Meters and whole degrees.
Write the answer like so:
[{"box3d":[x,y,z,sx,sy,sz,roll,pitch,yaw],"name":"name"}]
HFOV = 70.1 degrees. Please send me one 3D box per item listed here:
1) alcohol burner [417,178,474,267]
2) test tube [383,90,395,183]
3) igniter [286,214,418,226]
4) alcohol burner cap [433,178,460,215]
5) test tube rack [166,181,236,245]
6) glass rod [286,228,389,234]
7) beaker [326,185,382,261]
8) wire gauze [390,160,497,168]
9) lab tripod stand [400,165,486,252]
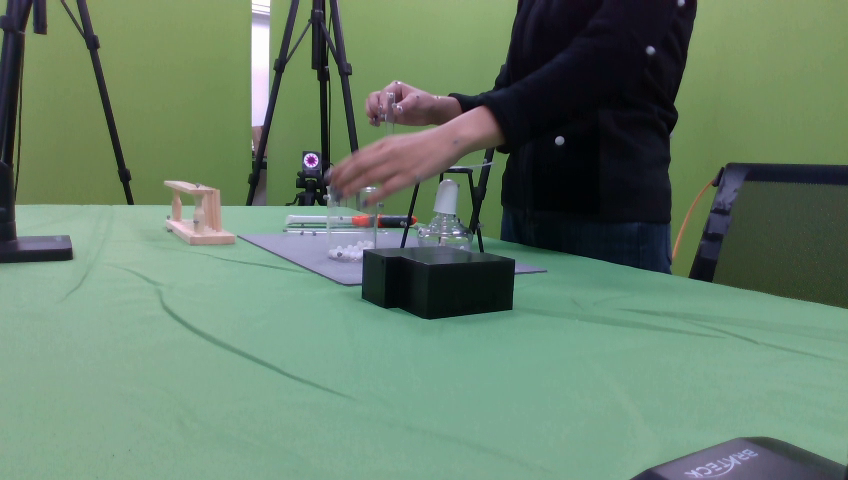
[{"box3d":[0.029,-0.024,0.810,0.078,0.119,0.078,1,9,0],"name":"alcohol burner"},{"box3d":[-0.058,-0.169,0.995,0.017,0.150,0.017,3,13,0],"name":"test tube"},{"box3d":[-0.146,-0.043,1.263,0.278,0.025,0.057,-1,-2,-24],"name":"igniter"},{"box3d":[0.032,-0.059,0.806,0.034,0.048,0.034,9,9,-1],"name":"alcohol burner cap"},{"box3d":[-0.383,-0.051,1.024,0.067,0.085,0.241,-2,9,-31],"name":"test tube rack"},{"box3d":[-0.154,-0.016,1.101,0.201,0.008,0.008,1,6,-31],"name":"glass rod"},{"box3d":[-0.100,-0.025,0.835,0.074,0.100,0.083,0,7,-22],"name":"beaker"},{"box3d":[0.027,-0.115,0.919,0.122,0.011,0.124,-4,10,-34],"name":"wire gauze"},{"box3d":[0.027,-0.049,0.930,0.148,0.131,0.148,2,9,0],"name":"lab tripod stand"}]
